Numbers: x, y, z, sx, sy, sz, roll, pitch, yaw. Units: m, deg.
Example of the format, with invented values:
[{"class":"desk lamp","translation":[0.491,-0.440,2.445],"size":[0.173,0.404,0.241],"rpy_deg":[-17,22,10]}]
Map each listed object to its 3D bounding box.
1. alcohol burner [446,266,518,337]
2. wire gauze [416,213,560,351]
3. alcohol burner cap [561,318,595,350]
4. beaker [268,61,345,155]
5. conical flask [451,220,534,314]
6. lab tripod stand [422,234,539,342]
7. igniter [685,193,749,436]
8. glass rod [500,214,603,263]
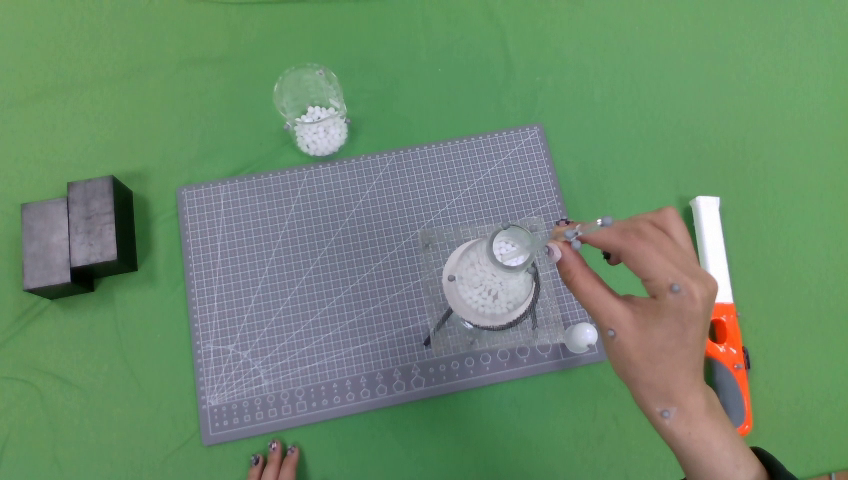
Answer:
[{"class":"alcohol burner","translation":[0.062,0.062,0.638],"size":[0.078,0.119,0.077],"rpy_deg":[0,74,1]},{"class":"wire gauze","translation":[0.059,0.038,0.566],"size":[0.125,0.011,0.121],"rpy_deg":[-5,77,-5]},{"class":"alcohol burner cap","translation":[0.172,0.102,0.666],"size":[0.034,0.048,0.033],"rpy_deg":[0,74,-1]},{"class":"beaker","translation":[-0.128,-0.147,0.702],"size":[0.084,0.100,0.074],"rpy_deg":[24,75,5]},{"class":"conical flask","translation":[0.063,0.018,0.510],"size":[0.075,0.122,0.075],"rpy_deg":[0,76,-1]},{"class":"lab tripod stand","translation":[0.060,0.058,0.629],"size":[0.148,0.132,0.147],"rpy_deg":[0,76,-1]},{"class":"igniter","translation":[0.331,0.078,0.688],"size":[0.057,0.025,0.275],"rpy_deg":[2,74,-11]},{"class":"glass rod","translation":[0.079,0.003,0.414],"size":[0.008,0.200,0.008],"rpy_deg":[1,82,-8]}]
